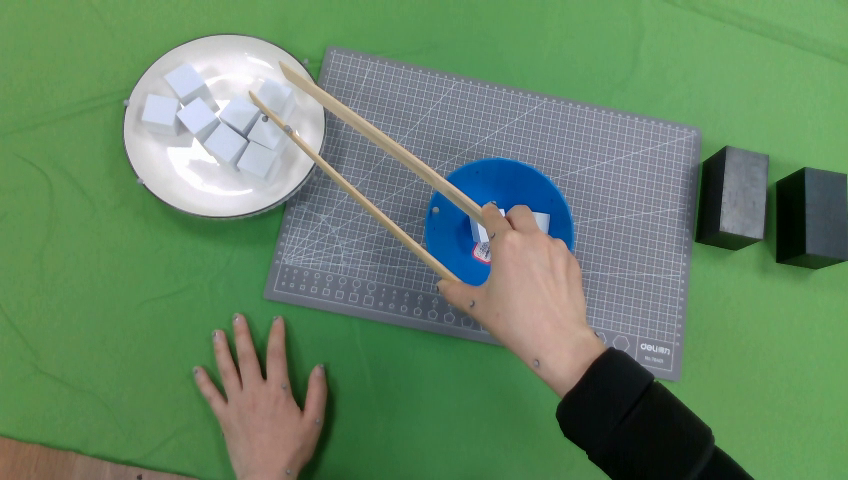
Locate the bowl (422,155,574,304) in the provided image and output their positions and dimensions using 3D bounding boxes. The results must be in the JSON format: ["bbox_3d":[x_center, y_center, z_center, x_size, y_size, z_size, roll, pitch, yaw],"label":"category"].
[{"bbox_3d":[0.069,-0.003,0.626,0.151,0.077,0.150,1,77,-6],"label":"bowl"}]

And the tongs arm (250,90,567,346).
[{"bbox_3d":[-0.032,-0.038,0.539,0.051,0.027,0.381,-39,64,-13],"label":"tongs arm"}]

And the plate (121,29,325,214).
[{"bbox_3d":[-0.209,-0.124,0.648,0.208,0.039,0.206,1,77,-4],"label":"plate"}]

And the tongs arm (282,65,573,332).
[{"bbox_3d":[-0.013,-0.056,0.545,0.028,0.028,0.384,-41,64,-18],"label":"tongs arm"}]
